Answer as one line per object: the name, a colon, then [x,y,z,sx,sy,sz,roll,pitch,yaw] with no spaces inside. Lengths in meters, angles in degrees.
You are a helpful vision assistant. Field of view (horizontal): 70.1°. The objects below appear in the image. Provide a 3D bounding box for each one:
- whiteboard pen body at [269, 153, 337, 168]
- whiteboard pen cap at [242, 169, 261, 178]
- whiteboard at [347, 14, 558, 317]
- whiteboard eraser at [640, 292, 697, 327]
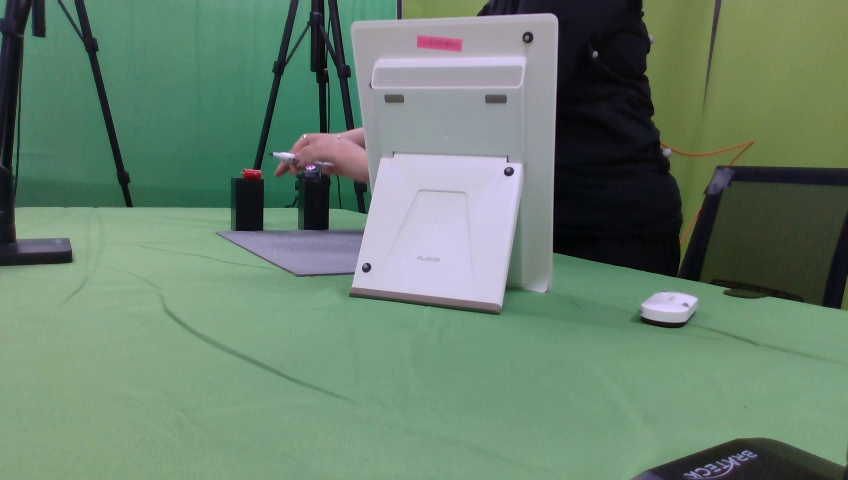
whiteboard pen body: [-0.235,-0.156,1.180,0.141,0.017,0.017,3,6,-34]
whiteboard pen cap: [-0.326,-0.126,1.144,0.032,0.017,0.017,0,7,-36]
whiteboard: [0.012,-0.056,0.609,0.216,0.305,0.144,5,27,20]
whiteboard eraser: [0.240,0.066,0.590,0.041,0.019,0.102,6,7,31]
